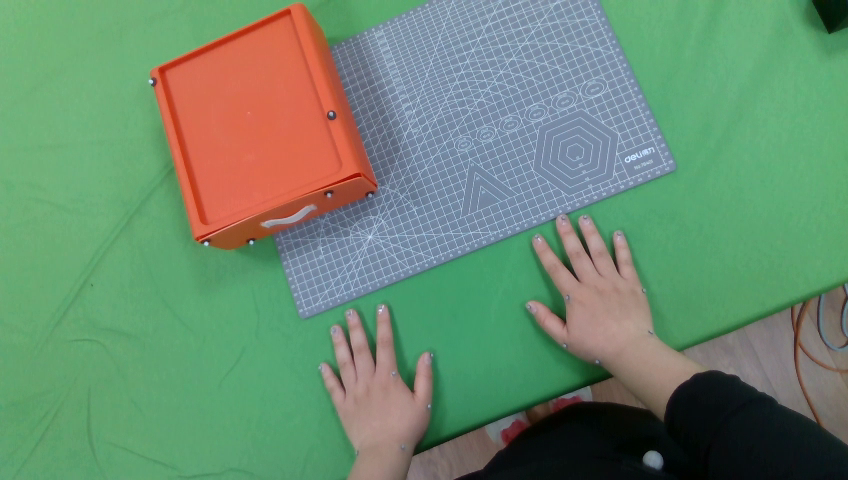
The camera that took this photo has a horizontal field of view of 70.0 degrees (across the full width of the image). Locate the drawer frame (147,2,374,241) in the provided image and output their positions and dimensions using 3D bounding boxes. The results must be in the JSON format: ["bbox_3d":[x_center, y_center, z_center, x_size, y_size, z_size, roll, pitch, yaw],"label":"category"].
[{"bbox_3d":[-0.188,-0.125,0.694,0.201,0.083,0.212,-22,78,8],"label":"drawer frame"}]

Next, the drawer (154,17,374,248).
[{"bbox_3d":[-0.184,-0.120,0.694,0.194,0.073,0.210,-21,78,8],"label":"drawer"}]

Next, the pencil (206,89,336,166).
[{"bbox_3d":[-0.182,-0.133,0.717,0.193,0.012,0.012,30,89,13],"label":"pencil"}]
